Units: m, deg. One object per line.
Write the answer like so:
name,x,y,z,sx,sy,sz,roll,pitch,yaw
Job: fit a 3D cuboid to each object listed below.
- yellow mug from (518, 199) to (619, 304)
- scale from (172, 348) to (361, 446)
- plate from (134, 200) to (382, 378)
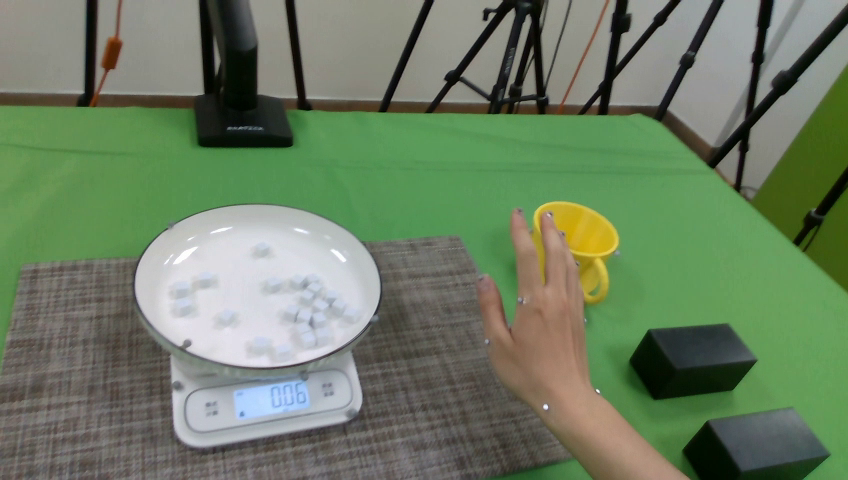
yellow mug,0.173,0.017,0.699,0.100,0.064,0.129,-5,44,-23
scale,-0.146,0.081,0.544,0.149,0.032,0.198,-4,43,-21
plate,-0.143,0.041,0.541,0.209,0.038,0.207,9,39,-7
